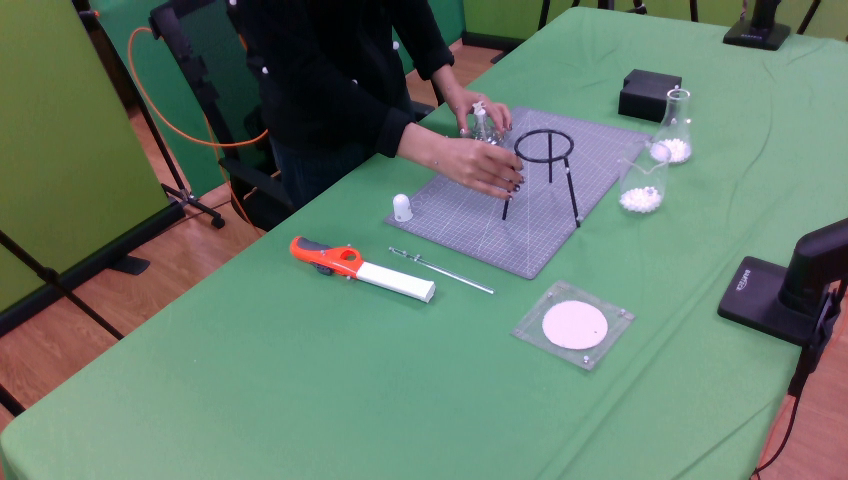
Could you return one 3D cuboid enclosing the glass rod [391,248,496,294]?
[{"bbox_3d":[0.027,0.046,0.937,0.198,0.008,0.008,22,50,31],"label":"glass rod"}]

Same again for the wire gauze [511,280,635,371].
[{"bbox_3d":[0.203,0.114,0.822,0.120,0.011,0.125,25,52,35],"label":"wire gauze"}]

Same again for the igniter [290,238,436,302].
[{"bbox_3d":[-0.106,0.043,0.949,0.274,0.025,0.057,16,57,27],"label":"igniter"}]

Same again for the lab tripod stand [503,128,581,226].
[{"bbox_3d":[0.191,-0.102,0.963,0.148,0.132,0.147,-7,41,6],"label":"lab tripod stand"}]

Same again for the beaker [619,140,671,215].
[{"bbox_3d":[0.352,-0.096,0.971,0.074,0.101,0.084,1,42,13],"label":"beaker"}]

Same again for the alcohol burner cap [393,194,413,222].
[{"bbox_3d":[-0.038,-0.057,1.038,0.034,0.048,0.033,-6,41,5],"label":"alcohol burner cap"}]

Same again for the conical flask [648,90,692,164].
[{"bbox_3d":[0.437,-0.199,1.057,0.075,0.122,0.075,-5,40,5],"label":"conical flask"}]

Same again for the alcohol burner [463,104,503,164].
[{"bbox_3d":[0.109,-0.202,1.126,0.078,0.119,0.077,-5,42,5],"label":"alcohol burner"}]
